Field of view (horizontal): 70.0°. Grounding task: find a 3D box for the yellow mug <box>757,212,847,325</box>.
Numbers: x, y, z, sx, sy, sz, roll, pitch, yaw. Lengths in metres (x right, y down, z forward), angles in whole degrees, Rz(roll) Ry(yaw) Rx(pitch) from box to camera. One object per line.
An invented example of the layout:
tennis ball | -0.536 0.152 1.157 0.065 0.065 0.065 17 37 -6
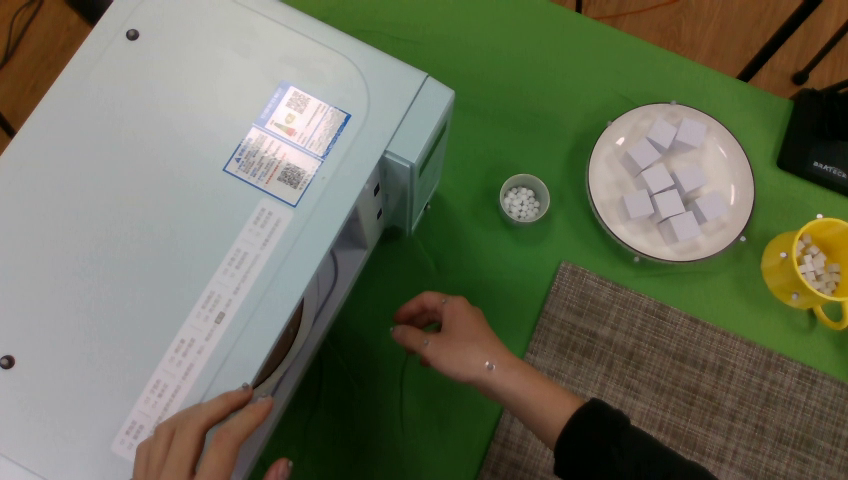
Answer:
yellow mug | 0.470 0.037 0.725 0.100 0.064 0.130 -13 79 -5

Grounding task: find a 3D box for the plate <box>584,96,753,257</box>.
plate | 0.300 -0.077 0.756 0.208 0.039 0.206 1 77 -2

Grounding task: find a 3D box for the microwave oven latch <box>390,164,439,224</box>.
microwave oven latch | -0.012 -0.060 0.718 0.030 0.029 0.079 30 78 4

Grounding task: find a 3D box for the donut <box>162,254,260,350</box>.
donut | -0.216 0.063 0.620 0.099 0.048 0.098 1 81 -3

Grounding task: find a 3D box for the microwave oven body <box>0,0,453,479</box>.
microwave oven body | -0.220 0.006 0.594 0.326 0.261 0.440 27 78 3

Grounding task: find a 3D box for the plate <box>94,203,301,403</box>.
plate | -0.232 0.065 0.635 0.209 0.038 0.208 1 76 -3

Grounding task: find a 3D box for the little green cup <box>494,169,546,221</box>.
little green cup | 0.115 -0.052 0.740 0.061 0.039 0.061 1 79 -3
